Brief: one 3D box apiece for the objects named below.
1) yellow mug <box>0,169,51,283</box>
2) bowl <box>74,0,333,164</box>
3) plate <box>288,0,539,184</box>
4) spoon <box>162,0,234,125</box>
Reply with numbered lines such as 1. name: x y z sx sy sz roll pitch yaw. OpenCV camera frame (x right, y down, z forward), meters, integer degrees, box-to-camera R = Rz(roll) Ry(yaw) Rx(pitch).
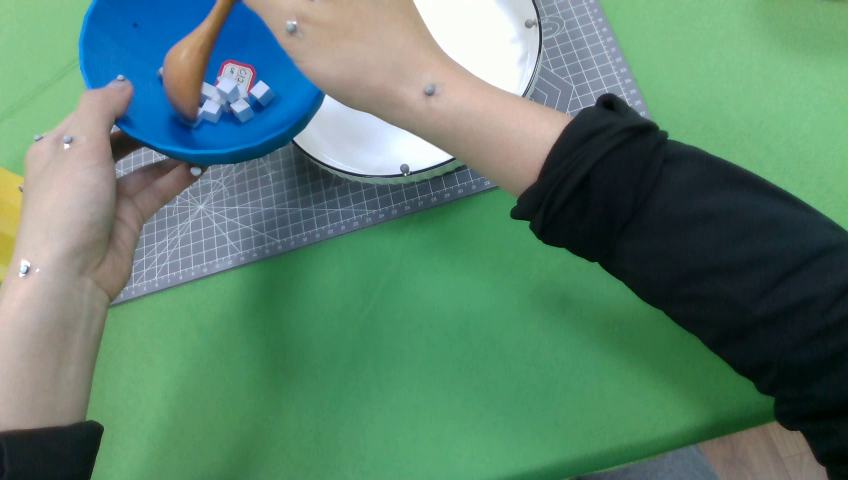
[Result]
1. yellow mug: -0.374 -0.005 0.486 0.099 0.064 0.130 5 71 16
2. bowl: -0.133 -0.109 0.399 0.151 0.077 0.150 2 74 -5
3. plate: -0.017 -0.131 0.461 0.209 0.038 0.207 -5 67 12
4. spoon: -0.109 -0.128 0.320 0.194 0.022 0.041 -41 72 42
